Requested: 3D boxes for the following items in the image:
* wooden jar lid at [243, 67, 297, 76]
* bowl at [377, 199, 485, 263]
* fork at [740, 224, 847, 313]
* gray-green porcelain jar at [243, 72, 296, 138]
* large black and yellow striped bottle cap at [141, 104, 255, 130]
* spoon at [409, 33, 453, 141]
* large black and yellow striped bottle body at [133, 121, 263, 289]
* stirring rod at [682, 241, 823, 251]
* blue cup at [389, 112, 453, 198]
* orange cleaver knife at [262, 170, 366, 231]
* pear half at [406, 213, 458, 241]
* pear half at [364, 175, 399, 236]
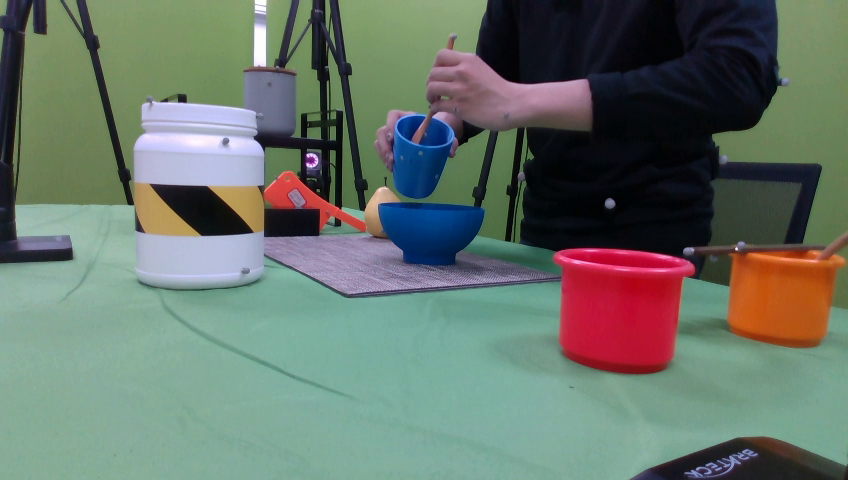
[{"bbox_3d":[-0.319,-0.342,1.254,0.108,0.020,0.108,3,8,0],"label":"wooden jar lid"},{"bbox_3d":[0.008,-0.013,0.842,0.151,0.077,0.151,2,8,0],"label":"bowl"},{"bbox_3d":[0.323,0.013,0.485,0.028,0.018,0.207,8,-37,-6],"label":"fork"},{"bbox_3d":[-0.322,-0.279,1.263,0.106,0.126,0.106,3,8,0],"label":"gray-green porcelain jar"},{"bbox_3d":[-0.241,-0.131,0.650,0.115,0.019,0.115,3,8,0],"label":"large black and yellow striped bottle cap"},{"bbox_3d":[0.007,-0.185,0.827,0.022,0.193,0.041,20,19,-7],"label":"spoon"},{"bbox_3d":[-0.243,-0.048,0.659,0.131,0.184,0.130,2,7,0],"label":"large black and yellow striped bottle body"},{"bbox_3d":[0.289,0.005,0.525,0.177,0.006,0.014,-1,5,-26],"label":"stirring rod"},{"bbox_3d":[-0.010,-0.117,0.869,0.093,0.100,0.092,7,42,-6],"label":"blue cup"},{"bbox_3d":[-0.201,-0.057,1.136,0.212,0.077,0.012,31,-3,-31],"label":"orange cleaver knife"},{"bbox_3d":[0.007,-0.020,0.847,0.070,0.031,0.088,1,11,39],"label":"pear half"},{"bbox_3d":[-0.064,-0.061,1.077,0.055,0.110,0.077,9,14,39],"label":"pear half"}]
